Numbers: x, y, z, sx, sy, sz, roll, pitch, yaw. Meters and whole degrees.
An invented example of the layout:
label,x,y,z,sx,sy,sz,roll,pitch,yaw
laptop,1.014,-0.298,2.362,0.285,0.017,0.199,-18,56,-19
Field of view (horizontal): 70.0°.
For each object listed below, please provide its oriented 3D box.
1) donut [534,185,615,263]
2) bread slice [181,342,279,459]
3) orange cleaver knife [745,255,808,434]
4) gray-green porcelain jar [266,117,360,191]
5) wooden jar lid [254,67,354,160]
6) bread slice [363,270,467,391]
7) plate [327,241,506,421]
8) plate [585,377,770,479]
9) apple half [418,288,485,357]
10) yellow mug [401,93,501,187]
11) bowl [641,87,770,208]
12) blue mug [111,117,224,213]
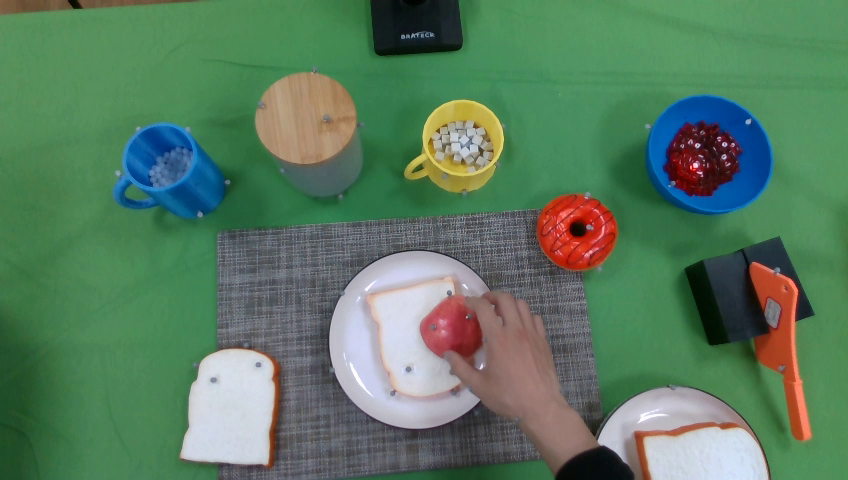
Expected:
label,x,y,z,sx,sy,sz,roll,pitch,yaw
donut,0.185,-0.020,0.746,0.099,0.048,0.098,0,78,-1
bread slice,-0.223,0.184,0.703,0.105,0.019,0.131,3,79,-2
orange cleaver knife,0.410,0.121,0.707,0.012,0.077,0.212,-15,100,-12
gray-green porcelain jar,-0.131,-0.121,0.721,0.106,0.127,0.105,0,77,-1
wooden jar lid,-0.130,-0.136,0.661,0.108,0.021,0.108,0,76,-1
bread slice,-0.004,0.109,0.716,0.107,0.018,0.133,-15,78,-4
plate,-0.009,0.106,0.716,0.208,0.039,0.206,0,77,-1
plate,0.285,0.263,0.694,0.209,0.038,0.208,0,77,-1
apple half,0.036,0.094,0.697,0.081,0.033,0.081,1,76,-3
yellow mug,0.030,-0.117,0.756,0.131,0.064,0.099,-28,80,-7
bowl,0.336,-0.104,0.756,0.151,0.077,0.150,0,78,-1
blue mug,-0.308,-0.078,0.716,0.116,0.106,0.082,-30,79,-8
